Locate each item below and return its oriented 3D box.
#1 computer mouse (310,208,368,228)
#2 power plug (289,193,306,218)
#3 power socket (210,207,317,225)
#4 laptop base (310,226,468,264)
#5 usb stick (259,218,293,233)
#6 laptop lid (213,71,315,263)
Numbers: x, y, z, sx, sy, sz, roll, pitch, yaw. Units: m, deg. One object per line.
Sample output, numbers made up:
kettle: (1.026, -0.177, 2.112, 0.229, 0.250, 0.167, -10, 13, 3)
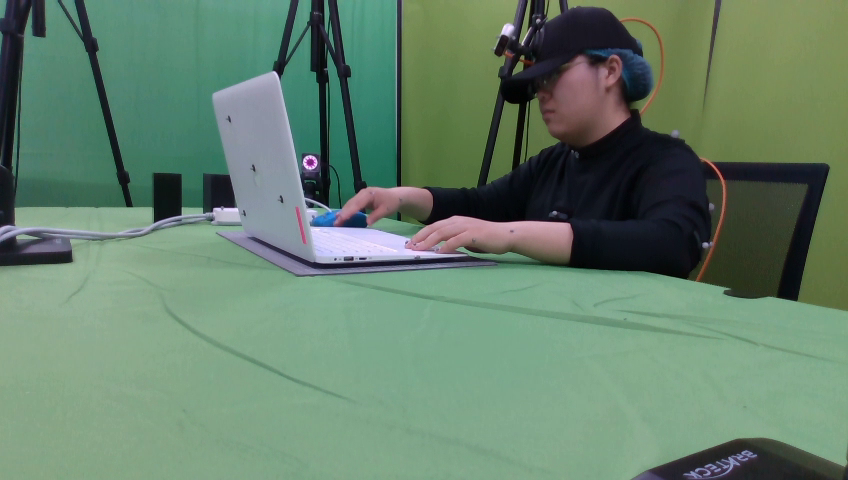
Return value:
computer mouse: (-0.179, -0.044, 1.275, 0.118, 0.041, 0.062, -6, 13, -29)
power plug: (-0.281, -0.076, 1.340, 0.035, 0.052, 0.072, 4, 5, -18)
power socket: (-0.334, -0.051, 1.282, 0.228, 0.032, 0.072, -1, 9, -28)
laptop base: (-0.122, 0.006, 0.954, 0.237, 0.023, 0.352, 2, 6, -31)
usb stick: (-0.272, -0.026, 1.108, 0.059, 0.027, 0.021, -3, 13, -27)
laptop lid: (-0.241, -0.104, 0.865, 0.013, 0.241, 0.355, -16, 17, -28)
